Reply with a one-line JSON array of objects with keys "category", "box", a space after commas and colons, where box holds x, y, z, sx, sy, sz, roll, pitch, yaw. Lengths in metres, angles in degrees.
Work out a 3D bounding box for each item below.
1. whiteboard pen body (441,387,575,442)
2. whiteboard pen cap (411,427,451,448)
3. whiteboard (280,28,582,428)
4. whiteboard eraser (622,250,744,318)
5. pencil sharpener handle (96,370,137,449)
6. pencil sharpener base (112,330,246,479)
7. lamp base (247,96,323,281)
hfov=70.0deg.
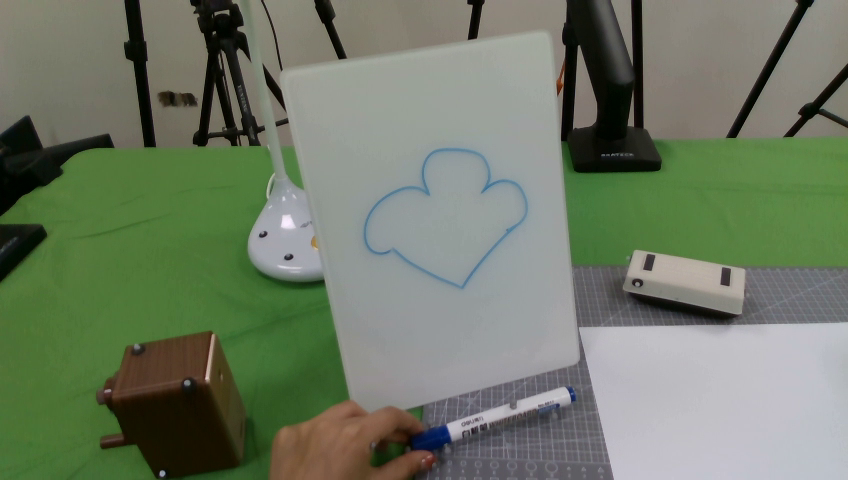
[{"category": "whiteboard pen body", "box": [0.062, 0.150, 0.510, 0.141, 0.017, 0.017, -14, 37, -10]}, {"category": "whiteboard pen cap", "box": [0.007, 0.162, 0.495, 0.033, 0.018, 0.018, 12, 22, -38]}, {"category": "whiteboard", "box": [0.007, -0.019, 0.568, 0.217, 0.307, 0.143, -12, 17, -10]}, {"category": "whiteboard eraser", "box": [0.266, 0.046, 0.623, 0.112, 0.042, 0.055, 12, 40, 21]}, {"category": "pencil sharpener handle", "box": [-0.246, 0.135, 0.475, 0.031, 0.068, 0.035, -10, 24, -6]}, {"category": "pencil sharpener base", "box": [-0.196, 0.135, 0.492, 0.077, 0.108, 0.060, -10, 37, -7]}, {"category": "lamp base", "box": [-0.150, -0.069, 0.711, 0.160, 0.182, 0.177, -31, 41, -32]}]
